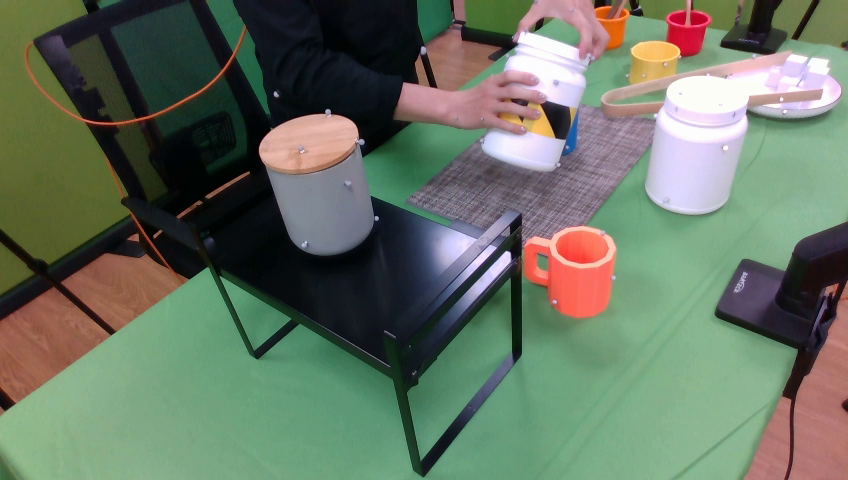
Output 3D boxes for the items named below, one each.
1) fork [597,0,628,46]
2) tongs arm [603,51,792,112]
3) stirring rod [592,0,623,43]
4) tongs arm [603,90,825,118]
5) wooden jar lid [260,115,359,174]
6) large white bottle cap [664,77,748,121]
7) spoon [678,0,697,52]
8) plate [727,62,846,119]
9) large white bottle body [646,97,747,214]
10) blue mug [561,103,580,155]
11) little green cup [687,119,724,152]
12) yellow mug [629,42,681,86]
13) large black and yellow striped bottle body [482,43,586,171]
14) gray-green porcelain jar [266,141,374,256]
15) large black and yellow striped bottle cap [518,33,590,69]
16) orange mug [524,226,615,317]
[{"bbox_3d":[0.479,-0.558,1.455,0.028,0.019,0.207,35,100,38],"label":"fork"},{"bbox_3d":[0.552,-0.320,1.223,0.384,0.027,0.050,-10,44,7],"label":"tongs arm"},{"bbox_3d":[0.460,-0.557,1.461,0.014,0.176,0.006,35,11,23],"label":"stirring rod"},{"bbox_3d":[0.546,-0.262,1.163,0.386,0.028,0.028,-1,50,18],"label":"tongs arm"},{"bbox_3d":[-0.124,-0.101,0.662,0.108,0.021,0.108,-4,41,4],"label":"wooden jar lid"},{"bbox_3d":[0.421,-0.212,0.905,0.115,0.018,0.114,-4,40,4],"label":"large white bottle cap"},{"bbox_3d":[0.614,-0.526,1.402,0.041,0.022,0.193,3,86,11],"label":"spoon"},{"bbox_3d":[0.709,-0.292,1.198,0.207,0.039,0.206,-4,40,4],"label":"plate"},{"bbox_3d":[0.431,-0.148,0.959,0.130,0.185,0.130,-4,41,4],"label":"large white bottle body"},{"bbox_3d":[0.233,-0.218,1.127,0.117,0.106,0.081,-23,43,-16],"label":"blue mug"},{"bbox_3d":[0.513,-0.191,1.109,0.061,0.039,0.061,-5,40,5],"label":"little green cup"},{"bbox_3d":[0.495,-0.389,1.321,0.100,0.064,0.130,-14,40,-7],"label":"yellow mug"},{"bbox_3d":[0.178,-0.214,0.963,0.131,0.184,0.130,15,18,-4],"label":"large black and yellow striped bottle body"},{"bbox_3d":[-0.117,-0.054,0.703,0.106,0.127,0.105,-4,40,4],"label":"gray-green porcelain jar"},{"bbox_3d":[0.201,-0.293,0.936,0.115,0.019,0.114,18,20,-6],"label":"large black and yellow striped bottle cap"},{"bbox_3d":[0.201,0.039,0.845,0.125,0.101,0.083,18,47,21],"label":"orange mug"}]
